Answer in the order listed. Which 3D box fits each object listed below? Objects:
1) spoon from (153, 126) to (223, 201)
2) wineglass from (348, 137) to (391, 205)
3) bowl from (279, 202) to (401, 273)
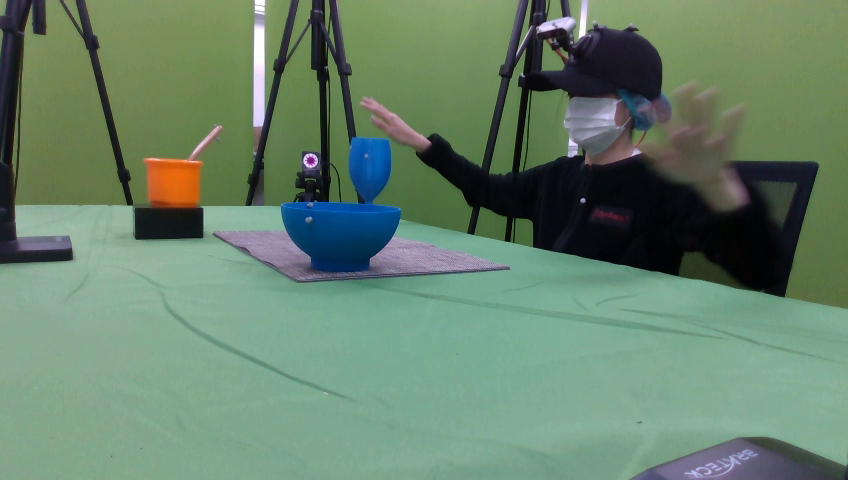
[{"bbox_3d":[-0.394,-0.134,1.026,0.041,0.193,0.022,9,-36,20],"label":"spoon"},{"bbox_3d":[-0.092,-0.081,0.997,0.074,0.172,0.073,3,7,0],"label":"wineglass"},{"bbox_3d":[-0.105,-0.003,0.756,0.151,0.077,0.151,3,7,0],"label":"bowl"}]
